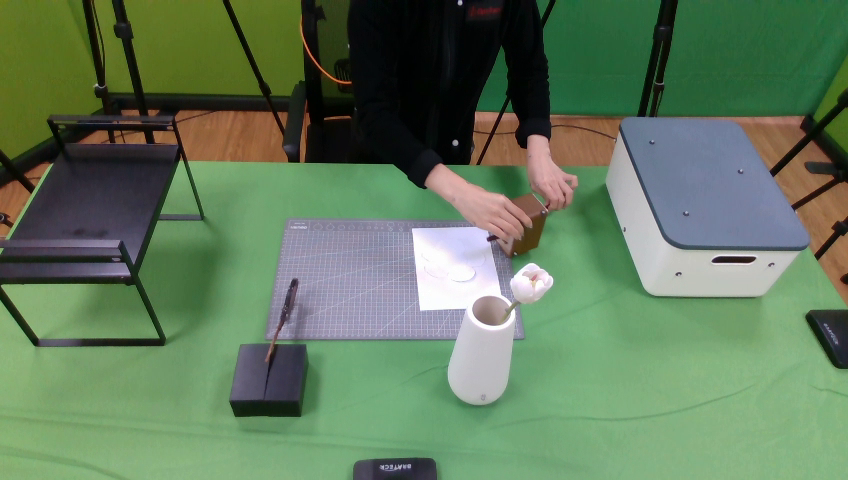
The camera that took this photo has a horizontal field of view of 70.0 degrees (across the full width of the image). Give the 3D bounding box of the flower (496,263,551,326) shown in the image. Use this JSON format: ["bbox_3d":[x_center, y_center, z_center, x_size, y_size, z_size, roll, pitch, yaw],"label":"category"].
[{"bbox_3d":[0.102,0.120,0.853,0.044,0.363,0.038,-1,64,-10],"label":"flower"}]

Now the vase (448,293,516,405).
[{"bbox_3d":[0.091,0.169,0.921,0.098,0.201,0.097,3,47,-3],"label":"vase"}]

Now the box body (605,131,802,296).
[{"bbox_3d":[0.530,-0.067,1.204,0.254,0.161,0.361,0,46,-4],"label":"box body"}]

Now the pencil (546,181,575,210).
[{"bbox_3d":[0.274,-0.081,1.266,0.012,0.012,0.194,30,43,22],"label":"pencil"}]

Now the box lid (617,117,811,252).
[{"bbox_3d":[0.534,-0.117,1.148,0.263,0.015,0.369,0,47,-3],"label":"box lid"}]

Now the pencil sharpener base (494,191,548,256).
[{"bbox_3d":[0.181,-0.029,1.160,0.077,0.107,0.061,-19,52,-20],"label":"pencil sharpener base"}]

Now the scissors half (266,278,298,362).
[{"bbox_3d":[-0.234,0.127,0.993,0.013,0.040,0.174,12,46,-4],"label":"scissors half"}]

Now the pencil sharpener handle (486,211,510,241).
[{"bbox_3d":[0.136,-0.023,1.133,0.031,0.068,0.036,-19,57,-20],"label":"pencil sharpener handle"}]

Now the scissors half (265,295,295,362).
[{"bbox_3d":[-0.239,0.143,1.005,0.013,0.040,0.174,17,27,-7],"label":"scissors half"}]
